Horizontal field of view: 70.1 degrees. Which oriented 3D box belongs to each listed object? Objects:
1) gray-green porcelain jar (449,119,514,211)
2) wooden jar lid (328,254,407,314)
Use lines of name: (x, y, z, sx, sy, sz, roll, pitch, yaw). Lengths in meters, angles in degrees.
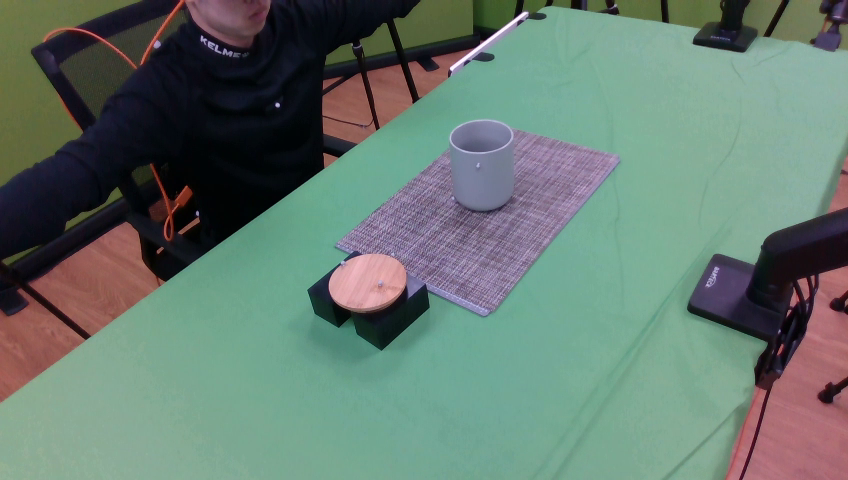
gray-green porcelain jar: (0.098, -0.120, 1.008, 0.106, 0.127, 0.105, -4, 41, 4)
wooden jar lid: (-0.077, 0.062, 0.832, 0.108, 0.021, 0.108, -4, 39, 4)
